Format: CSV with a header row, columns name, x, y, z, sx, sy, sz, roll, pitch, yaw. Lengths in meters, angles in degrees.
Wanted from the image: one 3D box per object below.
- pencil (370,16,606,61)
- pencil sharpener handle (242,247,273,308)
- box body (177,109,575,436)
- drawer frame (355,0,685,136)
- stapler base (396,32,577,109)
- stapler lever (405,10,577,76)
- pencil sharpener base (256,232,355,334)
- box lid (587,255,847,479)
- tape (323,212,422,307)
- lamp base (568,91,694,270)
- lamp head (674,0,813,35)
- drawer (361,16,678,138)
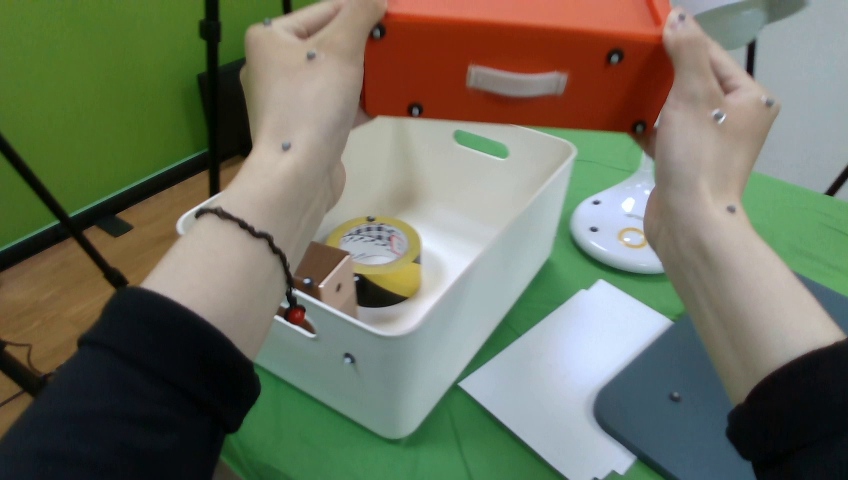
name,x,y,z,sx,sy,sz,roll,pitch,yaw
pencil,0.041,-0.152,0.456,0.193,0.012,0.012,18,41,24
pencil sharpener handle,-0.168,0.035,0.615,0.030,0.068,0.036,17,10,19
box body,-0.029,0.000,0.654,0.252,0.162,0.363,23,43,24
drawer frame,0.058,-0.178,0.452,0.202,0.083,0.211,2,49,-3
stapler base,0.047,-0.127,0.435,0.130,0.024,0.041,15,47,8
stapler lever,0.047,-0.143,0.417,0.118,0.040,0.026,15,47,8
pencil sharpener base,-0.119,0.055,0.613,0.076,0.108,0.061,17,41,19
box lid,0.366,0.148,0.607,0.372,0.015,0.260,-28,47,-33
tape,-0.059,0.020,0.706,0.117,0.053,0.115,2,39,-1
lamp base,0.275,-0.083,0.758,0.160,0.182,0.178,9,37,9
lamp head,0.276,-0.254,0.537,0.112,0.122,0.112,-5,-2,0
drawer,0.058,-0.173,0.451,0.195,0.074,0.209,3,48,-3
